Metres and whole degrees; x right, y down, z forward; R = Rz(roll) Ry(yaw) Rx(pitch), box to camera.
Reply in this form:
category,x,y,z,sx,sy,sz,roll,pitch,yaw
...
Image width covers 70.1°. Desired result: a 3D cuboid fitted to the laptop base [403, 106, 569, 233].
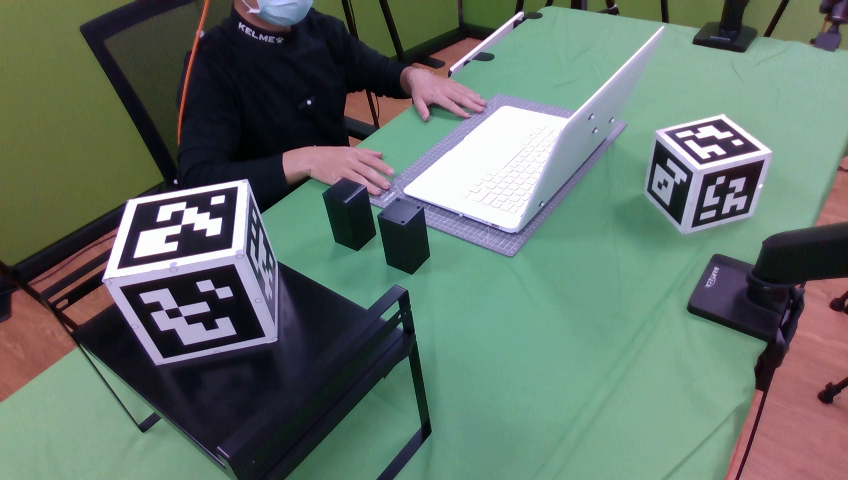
category,x,y,z,sx,sy,sz,roll,pitch,yaw
laptop base,0.156,-0.144,1.116,0.233,0.023,0.355,20,47,32

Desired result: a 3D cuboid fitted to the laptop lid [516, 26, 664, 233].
category,x,y,z,sx,sy,sz,roll,pitch,yaw
laptop lid,0.268,-0.178,0.967,0.013,0.242,0.357,35,52,16
